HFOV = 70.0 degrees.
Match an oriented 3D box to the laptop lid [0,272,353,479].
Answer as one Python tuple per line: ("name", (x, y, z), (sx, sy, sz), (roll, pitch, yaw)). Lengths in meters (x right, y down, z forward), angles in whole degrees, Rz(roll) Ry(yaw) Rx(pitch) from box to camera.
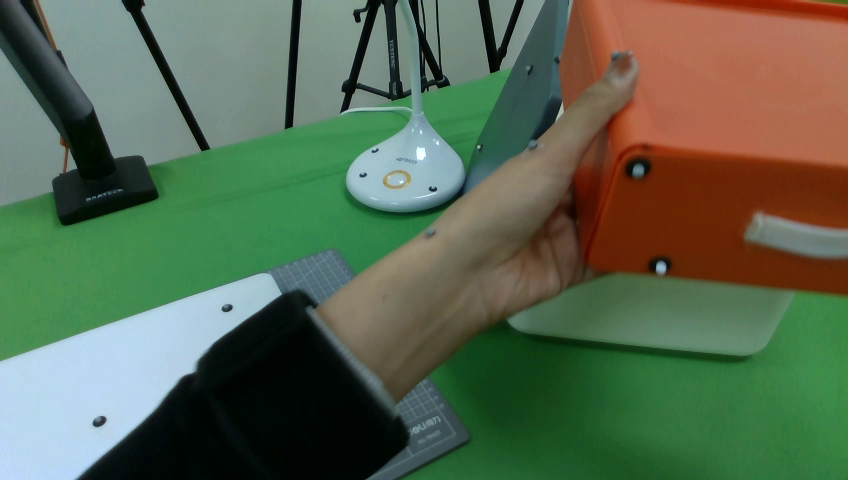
("laptop lid", (-0.262, 0.150, 0.497), (0.357, 0.013, 0.239), (-19, 43, -20))

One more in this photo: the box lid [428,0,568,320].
("box lid", (0.085, -0.109, 0.651), (0.015, 0.264, 0.368), (23, 39, -4))

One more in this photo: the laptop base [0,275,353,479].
("laptop base", (-0.263, 0.158, 0.506), (0.355, 0.023, 0.233), (-20, 45, -22))

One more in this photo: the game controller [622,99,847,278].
("game controller", (0.185, -0.028, 0.322), (0.155, 0.052, 0.096), (2, 70, 0))

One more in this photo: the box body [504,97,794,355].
("box body", (0.221, -0.060, 0.650), (0.254, 0.162, 0.361), (4, 38, 9))

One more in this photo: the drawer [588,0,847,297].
("drawer", (0.187, -0.065, 0.345), (0.194, 0.074, 0.210), (6, 41, 2))

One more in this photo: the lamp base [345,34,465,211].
("lamp base", (-0.026, -0.155, 0.769), (0.160, 0.182, 0.178), (5, 36, 9))

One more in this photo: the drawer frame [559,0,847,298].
("drawer frame", (0.187, -0.069, 0.347), (0.202, 0.083, 0.211), (6, 40, 1))
